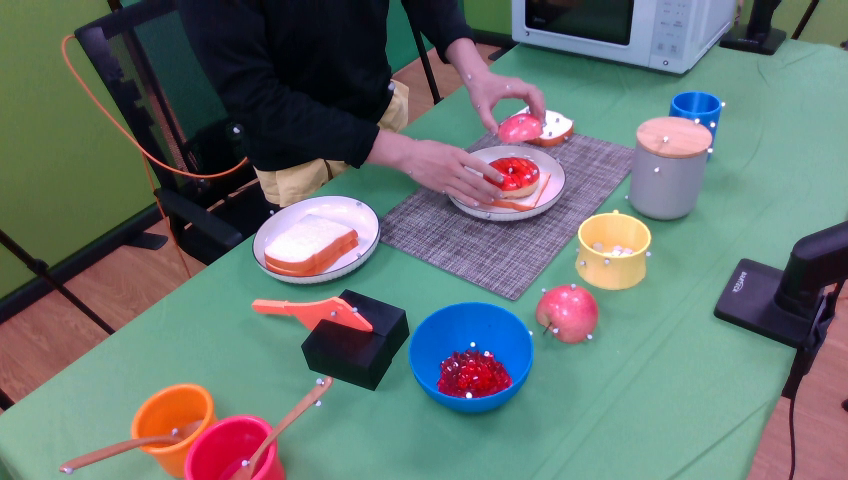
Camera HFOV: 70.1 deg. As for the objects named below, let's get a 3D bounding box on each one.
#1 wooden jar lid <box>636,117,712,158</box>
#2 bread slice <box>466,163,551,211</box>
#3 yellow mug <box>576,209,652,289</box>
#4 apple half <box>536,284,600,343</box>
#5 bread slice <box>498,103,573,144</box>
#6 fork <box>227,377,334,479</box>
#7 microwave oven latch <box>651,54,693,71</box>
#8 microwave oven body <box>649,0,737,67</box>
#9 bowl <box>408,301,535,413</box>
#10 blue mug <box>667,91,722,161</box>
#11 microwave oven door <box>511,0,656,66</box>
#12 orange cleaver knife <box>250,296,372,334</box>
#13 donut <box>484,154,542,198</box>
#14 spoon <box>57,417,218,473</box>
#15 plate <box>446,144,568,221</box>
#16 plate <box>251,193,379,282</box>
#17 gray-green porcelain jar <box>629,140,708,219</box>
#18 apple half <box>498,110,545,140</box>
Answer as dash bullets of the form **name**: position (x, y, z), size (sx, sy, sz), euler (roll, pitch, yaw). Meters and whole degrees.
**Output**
- **wooden jar lid**: position (0.377, -0.151, 0.917), size (0.108, 0.021, 0.108), euler (-2, 41, 3)
- **bread slice**: position (0.140, -0.094, 1.042), size (0.133, 0.018, 0.107), euler (11, 45, 20)
- **yellow mug**: position (0.279, 0.004, 0.893), size (0.099, 0.064, 0.130), euler (5, 42, 14)
- **apple half**: position (0.196, 0.091, 0.815), size (0.075, 0.053, 0.080), euler (-22, 42, -20)
- **bread slice**: position (0.231, -0.232, 1.205), size (0.105, 0.019, 0.130), euler (-36, 48, -28)
- **fork**: position (-0.163, 0.216, 0.647), size (0.207, 0.019, 0.028), euler (-49, 41, 16)
- **microwave oven latch**: position (0.531, -0.386, 1.301), size (0.078, 0.029, 0.030), euler (26, 51, 34)
- **microwave oven body**: position (0.475, -0.602, 1.411), size (0.438, 0.261, 0.327), euler (23, 50, 32)
- **bowl**: position (0.060, 0.156, 0.739), size (0.151, 0.077, 0.150), euler (-4, 40, 4)
- **blue mug**: position (0.474, -0.207, 1.079), size (0.082, 0.106, 0.116), euler (4, 42, 13)
- **microwave oven door**: position (0.351, -0.539, 1.348), size (0.353, 0.245, 0.039), euler (24, 50, 31)
- **orange cleaver knife**: position (-0.158, 0.103, 0.828), size (0.210, 0.078, 0.012), euler (-4, 43, 39)
- **donut**: position (0.149, -0.110, 1.016), size (0.099, 0.048, 0.098), euler (-4, 41, 4)
- **spoon**: position (-0.304, 0.221, 0.661), size (0.041, 0.195, 0.021), euler (19, 92, 27)
- **plate**: position (0.142, -0.096, 1.045), size (0.207, 0.039, 0.206), euler (-4, 40, 4)
- **plate**: position (-0.174, -0.001, 0.984), size (0.209, 0.038, 0.208), euler (-4, 40, 4)
- **gray-green porcelain jar**: position (0.383, -0.105, 0.958), size (0.106, 0.127, 0.105), euler (-4, 41, 4)
- **apple half**: position (0.159, -0.195, 0.996), size (0.081, 0.033, 0.081), euler (-8, 32, 6)
